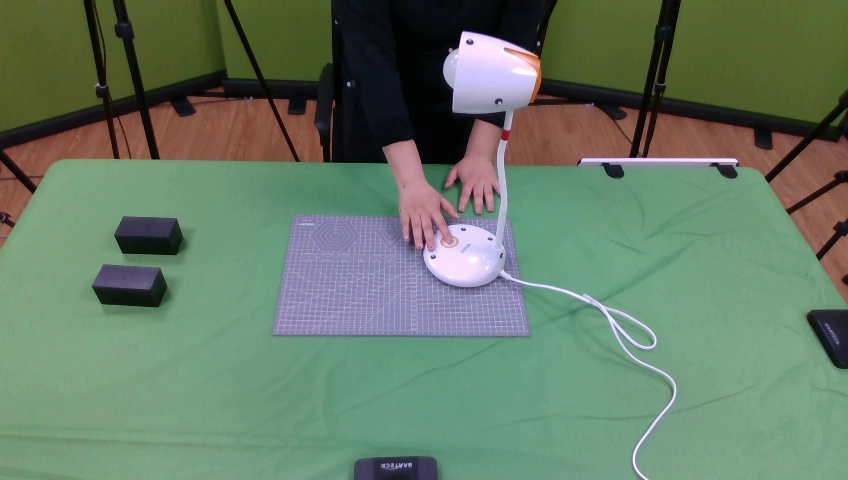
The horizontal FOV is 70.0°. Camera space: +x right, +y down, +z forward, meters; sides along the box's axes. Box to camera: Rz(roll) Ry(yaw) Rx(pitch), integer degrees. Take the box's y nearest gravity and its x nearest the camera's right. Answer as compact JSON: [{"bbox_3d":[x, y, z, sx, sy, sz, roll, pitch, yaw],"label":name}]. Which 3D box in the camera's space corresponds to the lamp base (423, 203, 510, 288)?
[{"bbox_3d":[0.092,-0.021,1.111,0.179,0.181,0.160,23,49,14],"label":"lamp base"}]

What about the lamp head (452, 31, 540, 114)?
[{"bbox_3d":[0.102,-0.228,0.859,0.123,0.113,0.112,11,46,0],"label":"lamp head"}]
